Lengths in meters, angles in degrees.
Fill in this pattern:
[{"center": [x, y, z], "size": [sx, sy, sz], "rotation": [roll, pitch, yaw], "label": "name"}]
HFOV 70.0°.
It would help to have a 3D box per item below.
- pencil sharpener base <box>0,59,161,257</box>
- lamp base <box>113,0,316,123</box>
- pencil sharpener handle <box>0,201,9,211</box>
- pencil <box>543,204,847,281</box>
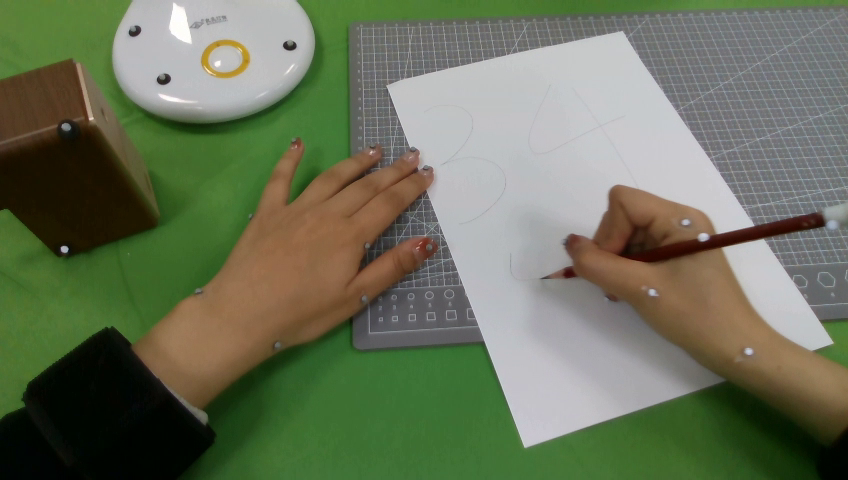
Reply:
[{"center": [-0.225, -0.046, 0.381], "size": [0.077, 0.108, 0.061], "rotation": [-22, 62, -12], "label": "pencil sharpener base"}, {"center": [-0.176, -0.206, 0.434], "size": [0.160, 0.182, 0.177], "rotation": [-31, 62, -18], "label": "lamp base"}, {"center": [-0.272, -0.035, 0.359], "size": [0.031, 0.068, 0.035], "rotation": [-22, 65, -12], "label": "pencil sharpener handle"}, {"center": [0.144, 0.005, 0.333], "size": [0.012, 0.193, 0.012], "rotation": [15, 67, -40], "label": "pencil"}]
